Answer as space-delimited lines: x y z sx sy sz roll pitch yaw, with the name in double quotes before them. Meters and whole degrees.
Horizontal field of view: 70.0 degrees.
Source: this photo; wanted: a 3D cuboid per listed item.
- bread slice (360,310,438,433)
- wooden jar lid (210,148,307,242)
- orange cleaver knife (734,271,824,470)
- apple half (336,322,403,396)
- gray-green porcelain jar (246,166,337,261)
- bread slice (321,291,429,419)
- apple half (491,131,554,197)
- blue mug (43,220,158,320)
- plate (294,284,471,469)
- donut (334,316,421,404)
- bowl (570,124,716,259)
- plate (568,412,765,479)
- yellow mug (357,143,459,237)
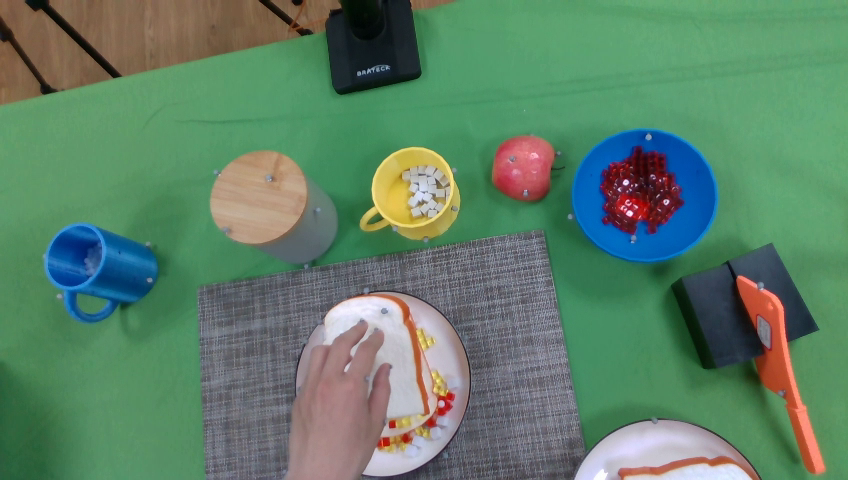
"bread slice" -0.042 0.154 0.706 0.107 0.018 0.133 -27 77 4
"wooden jar lid" -0.180 -0.048 0.665 0.108 0.021 0.108 -2 75 7
"orange cleaver knife" 0.364 0.133 0.626 0.012 0.077 0.212 -20 97 -2
"apple half" -0.061 0.127 0.649 0.081 0.033 0.081 -4 75 14
"gray-green porcelain jar" -0.168 -0.034 0.726 0.106 0.127 0.105 -2 77 9
"bread slice" -0.057 0.118 0.624 0.105 0.019 0.131 -9 91 12
"apple half" 0.118 -0.097 0.731 0.074 0.054 0.080 13 80 14
"blue mug" -0.406 0.043 0.758 0.082 0.106 0.116 11 80 12
"plate" -0.047 0.157 0.707 0.207 0.039 0.206 -2 78 9
"donut" -0.052 0.135 0.683 0.099 0.048 0.098 -2 77 8
"bowl" 0.240 -0.046 0.686 0.151 0.077 0.150 -2 78 9
"plate" 0.252 0.286 0.633 0.209 0.038 0.208 -2 78 10
"yellow mug" -0.024 -0.051 0.738 0.131 0.064 0.099 -32 74 2
